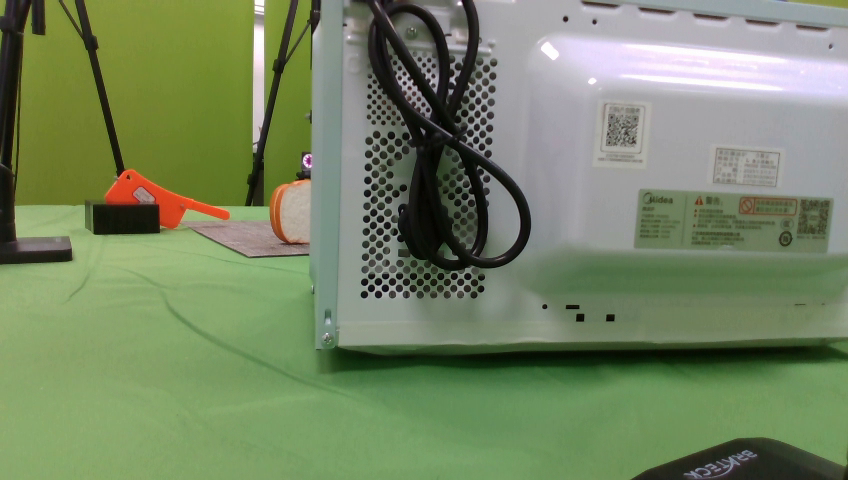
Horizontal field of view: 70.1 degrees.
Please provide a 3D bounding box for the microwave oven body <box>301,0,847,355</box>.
[{"bbox_3d":[0.120,-0.053,0.535,0.443,0.260,0.325,2,7,-11],"label":"microwave oven body"}]

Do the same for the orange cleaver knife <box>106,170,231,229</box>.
[{"bbox_3d":[-0.458,-0.060,1.097,0.212,0.077,0.012,23,-4,-38],"label":"orange cleaver knife"}]

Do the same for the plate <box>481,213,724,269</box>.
[{"bbox_3d":[0.155,-0.002,0.546,0.208,0.039,0.207,1,5,0],"label":"plate"}]

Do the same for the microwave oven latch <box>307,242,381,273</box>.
[{"bbox_3d":[-0.086,0.019,0.656,0.079,0.029,0.030,2,7,-10],"label":"microwave oven latch"}]

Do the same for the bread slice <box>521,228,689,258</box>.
[{"bbox_3d":[0.174,0.002,0.566,0.134,0.018,0.107,-3,3,32],"label":"bread slice"}]

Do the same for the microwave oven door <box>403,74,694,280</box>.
[{"bbox_3d":[0.145,-0.088,0.780,0.355,0.243,0.039,6,9,21],"label":"microwave oven door"}]
